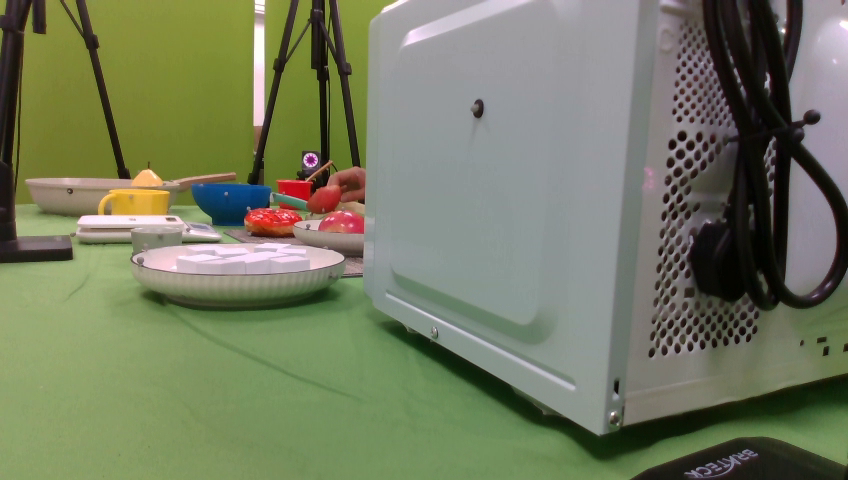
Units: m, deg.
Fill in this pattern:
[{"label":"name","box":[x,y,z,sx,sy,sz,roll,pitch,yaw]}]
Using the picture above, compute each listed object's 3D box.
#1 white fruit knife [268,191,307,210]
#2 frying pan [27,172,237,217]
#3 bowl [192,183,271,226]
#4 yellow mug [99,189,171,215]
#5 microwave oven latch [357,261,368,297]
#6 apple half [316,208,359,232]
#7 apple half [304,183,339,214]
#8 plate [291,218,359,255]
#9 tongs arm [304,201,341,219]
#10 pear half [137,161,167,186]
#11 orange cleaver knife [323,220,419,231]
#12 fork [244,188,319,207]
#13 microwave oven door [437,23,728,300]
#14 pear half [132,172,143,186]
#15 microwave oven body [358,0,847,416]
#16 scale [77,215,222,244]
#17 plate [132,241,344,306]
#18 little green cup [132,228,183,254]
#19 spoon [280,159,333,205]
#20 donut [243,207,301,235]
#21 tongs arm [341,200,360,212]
[{"label":"white fruit knife","box":[-0.364,-0.105,1.464,0.208,0.027,0.016,15,0,-34]},{"label":"frying pan","box":[-0.624,-0.119,1.387,0.305,0.102,0.490,8,17,32]},{"label":"bowl","box":[-0.382,-0.071,1.202,0.151,0.077,0.151,3,7,0]},{"label":"yellow mug","box":[-0.518,-0.055,1.080,0.099,0.064,0.131,7,9,26]},{"label":"microwave oven latch","box":[-0.019,0.033,0.530,0.079,0.029,0.030,-1,7,-26]},{"label":"apple half","box":[-0.122,-0.020,0.901,0.080,0.053,0.075,5,11,22]},{"label":"apple half","box":[-0.197,-0.077,1.213,0.082,0.081,0.032,-8,55,-52]},{"label":"plate","box":[-0.098,-0.007,0.928,0.209,0.038,0.209,2,7,0]},{"label":"tongs arm","box":[-0.235,-0.068,1.415,0.028,0.028,0.387,-5,7,1]},{"label":"pear half","box":[-0.602,-0.120,1.354,0.056,0.110,0.076,4,11,6]},{"label":"orange cleaver knife","box":[-0.096,-0.027,1.152,0.077,0.012,0.212,2,7,41]},{"label":"fork","box":[-0.356,-0.105,1.526,0.208,0.018,0.028,16,-6,-41]},{"label":"microwave oven door","box":[0.180,-0.072,0.621,0.358,0.243,0.039,-2,8,-29]},{"label":"pear half","box":[-0.638,-0.113,1.361,0.031,0.088,0.070,5,11,4]},{"label":"microwave oven body","box":[0.211,-0.047,0.474,0.444,0.260,0.324,-1,7,-28]},{"label":"scale","box":[-0.434,-0.019,0.963,0.202,0.031,0.148,-1,9,-27]},{"label":"plate","box":[-0.187,0.033,0.625,0.208,0.039,0.207,2,8,0]},{"label":"little green cup","box":[-0.342,0.006,0.779,0.061,0.038,0.061,2,8,0]},{"label":"spoon","box":[-0.316,-0.159,1.640,0.194,0.022,0.041,-50,32,-20]},{"label":"donut","box":[-0.261,-0.032,1.043,0.099,0.048,0.099,4,9,0]},{"label":"tongs arm","box":[-0.148,-0.070,1.429,0.051,0.026,0.383,-4,8,-14]}]
